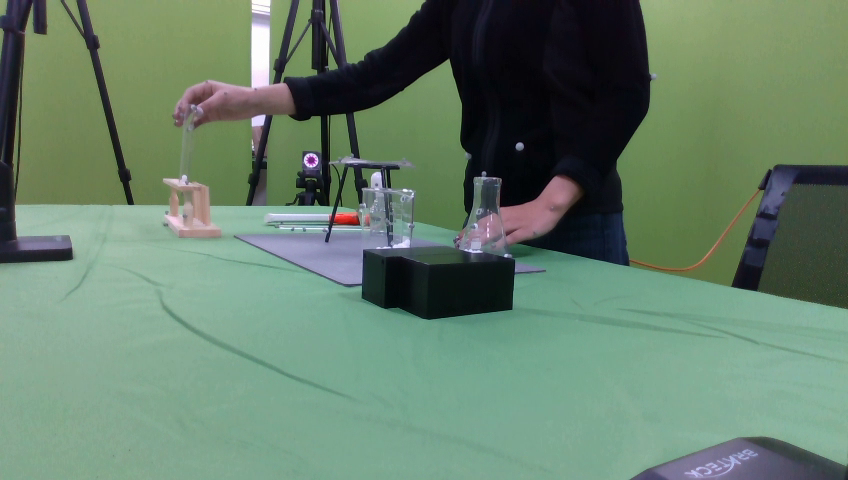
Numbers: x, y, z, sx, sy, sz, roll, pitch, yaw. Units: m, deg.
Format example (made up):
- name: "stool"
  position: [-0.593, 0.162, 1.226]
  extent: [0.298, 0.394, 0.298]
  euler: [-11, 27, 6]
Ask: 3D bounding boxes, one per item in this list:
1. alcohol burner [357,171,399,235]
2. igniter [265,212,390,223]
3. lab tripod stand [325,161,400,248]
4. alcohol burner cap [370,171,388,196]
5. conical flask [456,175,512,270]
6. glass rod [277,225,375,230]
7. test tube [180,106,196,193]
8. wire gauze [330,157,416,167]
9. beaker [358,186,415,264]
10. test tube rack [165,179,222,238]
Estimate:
- name: "alcohol burner"
  position: [-0.085, -0.069, 1.125]
  extent: [0.078, 0.119, 0.078]
  euler: [3, 10, 0]
- name: "igniter"
  position: [-0.196, -0.048, 1.285]
  extent: [0.278, 0.025, 0.057]
  euler: [-2, -2, -30]
- name: "lab tripod stand"
  position: [-0.083, -0.060, 0.977]
  extent: [0.148, 0.131, 0.148]
  euler: [4, 7, 0]
- name: "alcohol burner cap"
  position: [-0.085, -0.104, 1.121]
  extent: [0.034, 0.048, 0.034]
  euler: [-4, 8, 1]
- name: "conical flask"
  position: [0.082, -0.025, 0.801]
  extent: [0.075, 0.122, 0.075]
  euler: [2, 7, 0]
- name: "glass rod"
  position: [-0.186, -0.024, 1.178]
  extent: [0.201, 0.008, 0.008]
  euler: [1, 7, -31]
- name: "test tube"
  position: [-0.407, -0.155, 1.041]
  extent: [0.017, 0.150, 0.017]
  euler: [8, 8, -1]
- name: "wire gauze"
  position: [-0.079, -0.126, 0.972]
  extent: [0.121, 0.011, 0.125]
  euler: [4, 8, 5]
- name: "beaker"
  position: [-0.048, -0.021, 0.817]
  extent: [0.083, 0.100, 0.074]
  euler: [10, 10, 41]
- name: "test tube rack"
  position: [-0.423, -0.062, 1.098]
  extent: [0.067, 0.085, 0.241]
  euler: [-2, 9, -28]
